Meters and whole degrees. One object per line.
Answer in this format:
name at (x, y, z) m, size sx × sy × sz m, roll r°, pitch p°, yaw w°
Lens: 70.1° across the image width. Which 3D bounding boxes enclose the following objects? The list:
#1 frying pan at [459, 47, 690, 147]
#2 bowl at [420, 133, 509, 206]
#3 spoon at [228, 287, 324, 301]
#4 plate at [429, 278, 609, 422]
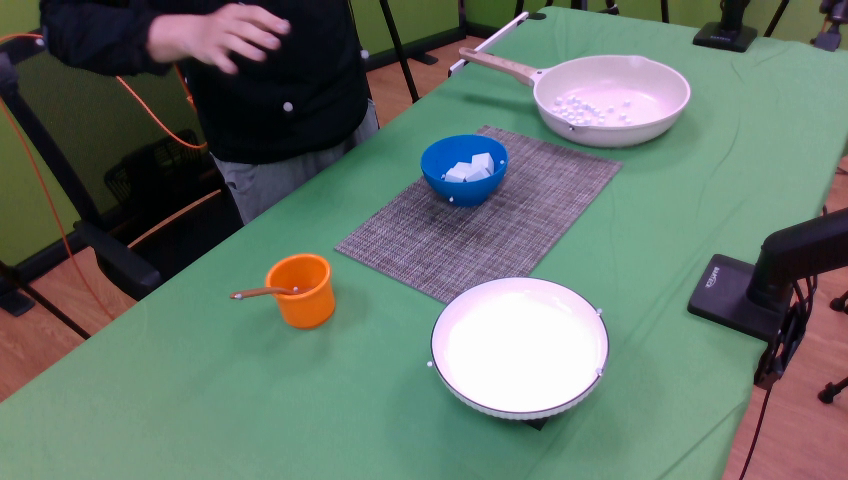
frying pan at (0.280, -0.317, 1.234) m, size 0.485 × 0.103 × 0.307 m, roll 28°, pitch 50°, yaw 23°
bowl at (0.071, -0.112, 1.038) m, size 0.151 × 0.077 × 0.150 m, roll -4°, pitch 40°, yaw 4°
spoon at (-0.197, 0.071, 0.816) m, size 0.041 × 0.195 × 0.021 m, roll 13°, pitch 88°, yaw 23°
plate at (0.111, 0.129, 0.716) m, size 0.207 × 0.039 × 0.206 m, roll -5°, pitch 39°, yaw 4°
